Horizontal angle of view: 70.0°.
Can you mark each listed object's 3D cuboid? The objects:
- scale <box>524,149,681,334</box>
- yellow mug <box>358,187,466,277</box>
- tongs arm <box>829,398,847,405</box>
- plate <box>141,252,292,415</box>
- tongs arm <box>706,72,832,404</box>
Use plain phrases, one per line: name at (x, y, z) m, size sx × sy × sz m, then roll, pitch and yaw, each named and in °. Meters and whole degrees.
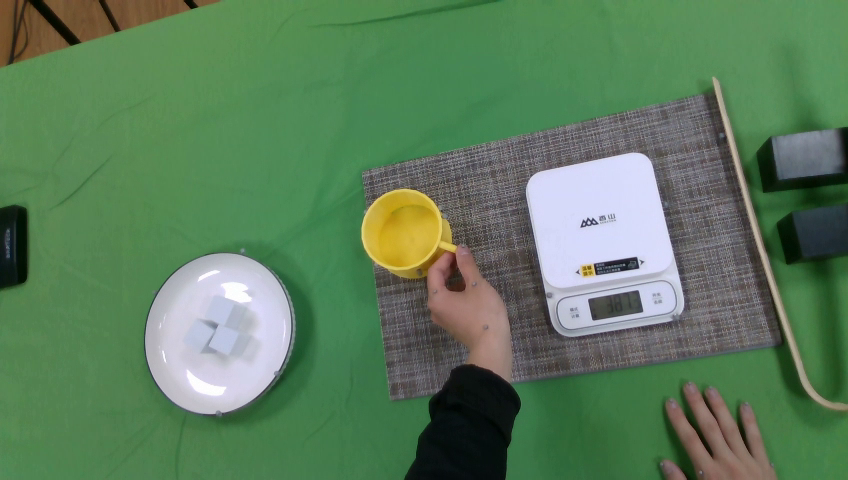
scale at (0.205, 0.001, 0.707) m, size 0.148 × 0.032 × 0.200 m, roll -12°, pitch 78°, yaw 11°
yellow mug at (-0.009, -0.004, 0.738) m, size 0.130 × 0.064 × 0.099 m, roll 18°, pitch 83°, yaw 14°
tongs arm at (0.436, -0.025, 0.622) m, size 0.050 × 0.027 × 0.384 m, roll -4°, pitch 84°, yaw 39°
plate at (-0.266, 0.120, 0.790) m, size 0.207 × 0.039 × 0.206 m, roll -2°, pitch 79°, yaw 12°
tongs arm at (0.375, -0.013, 0.674) m, size 0.028 × 0.028 × 0.385 m, roll -19°, pitch 74°, yaw 33°
